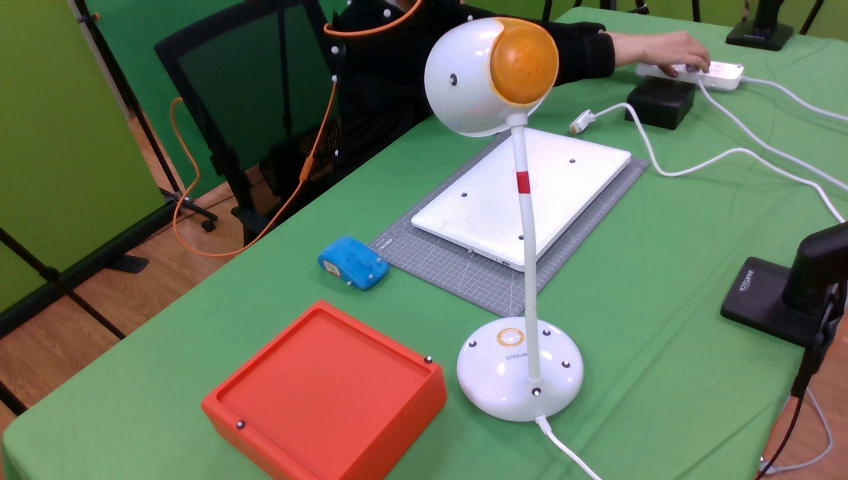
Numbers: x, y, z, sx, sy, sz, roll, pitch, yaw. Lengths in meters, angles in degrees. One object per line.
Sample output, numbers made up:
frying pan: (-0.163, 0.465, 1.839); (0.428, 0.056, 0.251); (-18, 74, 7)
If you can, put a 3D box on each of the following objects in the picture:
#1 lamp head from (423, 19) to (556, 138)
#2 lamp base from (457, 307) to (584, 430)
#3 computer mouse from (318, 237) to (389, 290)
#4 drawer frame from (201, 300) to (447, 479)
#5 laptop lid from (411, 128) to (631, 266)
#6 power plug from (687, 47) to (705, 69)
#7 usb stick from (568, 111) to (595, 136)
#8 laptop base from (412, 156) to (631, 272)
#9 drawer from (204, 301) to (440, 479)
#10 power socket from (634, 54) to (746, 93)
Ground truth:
lamp head: (0.069, -0.151, 0.563); (0.113, 0.113, 0.122); (-21, 18, -13)
lamp base: (0.115, 0.108, 0.713); (0.161, 0.181, 0.178); (-17, 43, -8)
computer mouse: (-0.113, 0.033, 0.959); (0.116, 0.041, 0.063); (28, 51, 31)
drawer frame: (-0.117, 0.193, 0.733); (0.212, 0.083, 0.202); (23, 48, 32)
laptop lid: (0.173, -0.093, 1.049); (0.239, 0.013, 0.358); (24, 49, 36)
power plug: (0.565, -0.384, 1.246); (0.035, 0.073, 0.052); (21, 75, 14)
usb stick: (0.308, -0.228, 1.190); (0.059, 0.021, 0.027); (-44, 13, -20)
laptop base: (0.176, -0.084, 1.055); (0.233, 0.023, 0.355); (21, 48, 36)
drawer: (-0.119, 0.194, 0.735); (0.210, 0.073, 0.195); (23, 49, 32)
power socket: (0.564, -0.358, 1.295); (0.225, 0.033, 0.072); (20, 49, 31)
